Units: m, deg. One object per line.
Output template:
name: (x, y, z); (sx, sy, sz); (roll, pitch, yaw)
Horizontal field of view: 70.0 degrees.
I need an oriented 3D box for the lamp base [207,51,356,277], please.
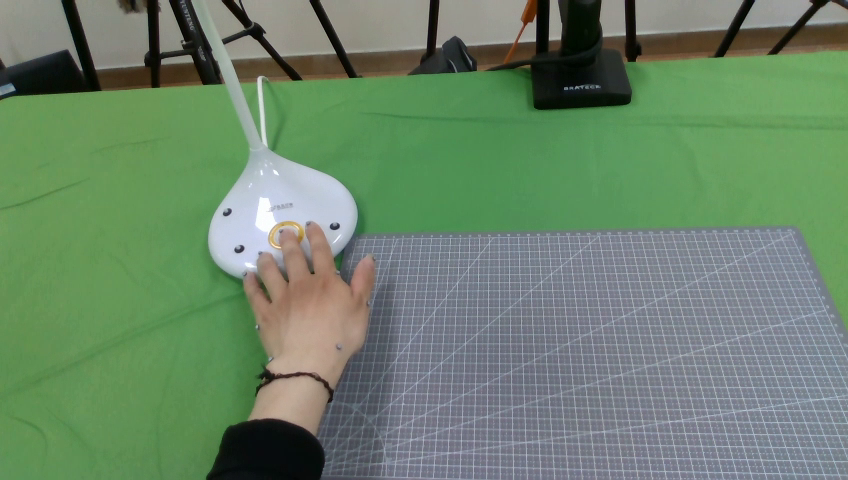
lamp base: (-0.167, -0.083, 0.604); (0.161, 0.182, 0.177); (-23, 45, -13)
